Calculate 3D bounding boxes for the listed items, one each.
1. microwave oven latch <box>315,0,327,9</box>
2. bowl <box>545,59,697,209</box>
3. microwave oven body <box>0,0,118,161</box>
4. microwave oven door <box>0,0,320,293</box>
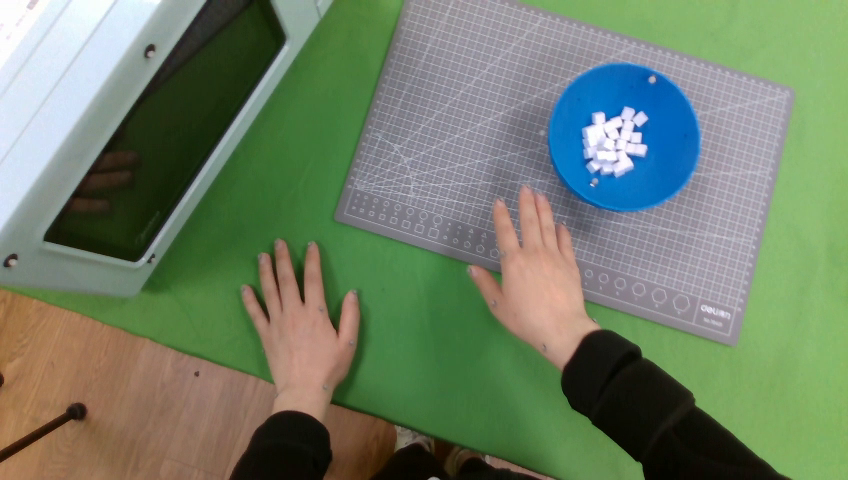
[{"bbox_3d":[-0.101,-0.289,0.647,0.030,0.029,0.079,33,84,2],"label":"microwave oven latch"},{"bbox_3d":[0.193,-0.100,0.630,0.151,0.077,0.151,0,83,-2],"label":"bowl"},{"bbox_3d":[-0.318,-0.229,0.536,0.326,0.260,0.441,31,84,2],"label":"microwave oven body"},{"bbox_3d":[-0.216,-0.118,0.521,0.039,0.244,0.355,31,83,3],"label":"microwave oven door"}]
